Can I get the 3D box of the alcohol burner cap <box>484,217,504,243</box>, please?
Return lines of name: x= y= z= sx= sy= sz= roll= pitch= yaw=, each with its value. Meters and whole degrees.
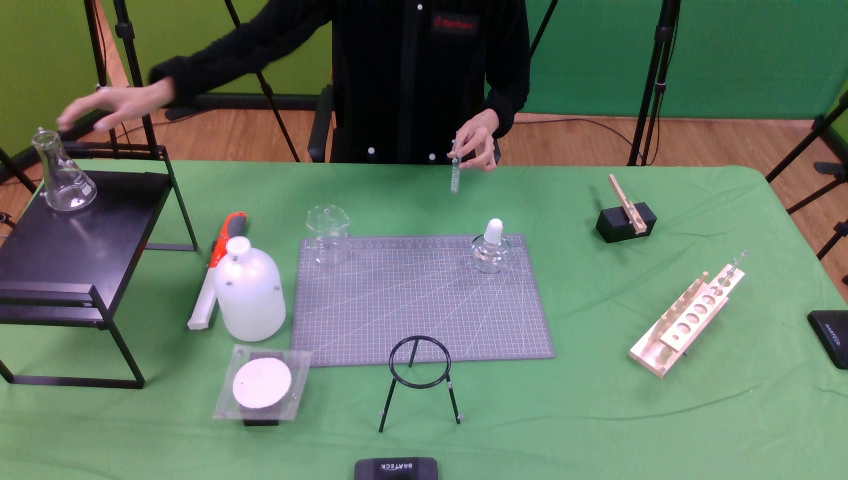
alcohol burner cap: x=0.131 y=-0.021 z=1.107 sx=0.034 sy=0.048 sz=0.033 roll=5 pitch=46 yaw=-5

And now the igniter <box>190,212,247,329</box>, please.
igniter: x=-0.376 y=0.047 z=1.121 sx=0.057 sy=0.025 sz=0.275 roll=-4 pitch=46 yaw=7

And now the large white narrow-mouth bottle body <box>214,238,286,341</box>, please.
large white narrow-mouth bottle body: x=-0.285 y=0.073 z=0.986 sx=0.102 sy=0.195 sz=0.101 roll=2 pitch=46 yaw=-2

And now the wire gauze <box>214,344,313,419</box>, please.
wire gauze: x=-0.241 y=0.213 z=0.915 sx=0.121 sy=0.011 sz=0.124 roll=5 pitch=46 yaw=1

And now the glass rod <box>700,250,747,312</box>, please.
glass rod: x=0.500 y=0.075 z=1.021 sx=0.008 sy=0.201 sz=0.008 roll=0 pitch=54 yaw=1

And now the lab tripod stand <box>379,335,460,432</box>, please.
lab tripod stand: x=-0.010 y=0.214 z=0.911 sx=0.148 sy=0.132 sz=0.147 roll=1 pitch=45 yaw=0

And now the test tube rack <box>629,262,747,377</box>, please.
test tube rack: x=0.464 y=0.126 z=1.060 sx=0.242 sy=0.085 sz=0.066 roll=-34 pitch=56 yaw=-31

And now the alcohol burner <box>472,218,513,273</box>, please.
alcohol burner: x=0.128 y=0.005 z=1.132 sx=0.078 sy=0.120 sz=0.077 roll=0 pitch=47 yaw=0

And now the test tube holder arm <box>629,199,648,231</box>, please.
test tube holder arm: x=0.423 y=-0.050 z=1.206 sx=0.010 sy=0.015 sz=0.087 roll=1 pitch=41 yaw=-12

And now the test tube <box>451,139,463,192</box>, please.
test tube: x=0.060 y=-0.134 z=1.125 sx=0.017 sy=0.151 sz=0.017 roll=0 pitch=60 yaw=0

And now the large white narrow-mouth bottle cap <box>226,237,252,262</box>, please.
large white narrow-mouth bottle cap: x=-0.282 y=0.014 z=0.923 sx=0.038 sy=0.024 sz=0.037 roll=2 pitch=46 yaw=-2

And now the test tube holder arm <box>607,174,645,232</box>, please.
test tube holder arm: x=0.411 y=-0.080 z=1.238 sx=0.013 sy=0.015 sz=0.177 roll=1 pitch=41 yaw=-13

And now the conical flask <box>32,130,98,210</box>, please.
conical flask: x=-0.565 y=-0.111 z=0.944 sx=0.075 sy=0.122 sz=0.075 roll=2 pitch=46 yaw=-2

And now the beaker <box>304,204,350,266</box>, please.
beaker: x=-0.178 y=-0.006 z=1.132 sx=0.084 sy=0.101 sz=0.073 roll=4 pitch=46 yaw=-1
